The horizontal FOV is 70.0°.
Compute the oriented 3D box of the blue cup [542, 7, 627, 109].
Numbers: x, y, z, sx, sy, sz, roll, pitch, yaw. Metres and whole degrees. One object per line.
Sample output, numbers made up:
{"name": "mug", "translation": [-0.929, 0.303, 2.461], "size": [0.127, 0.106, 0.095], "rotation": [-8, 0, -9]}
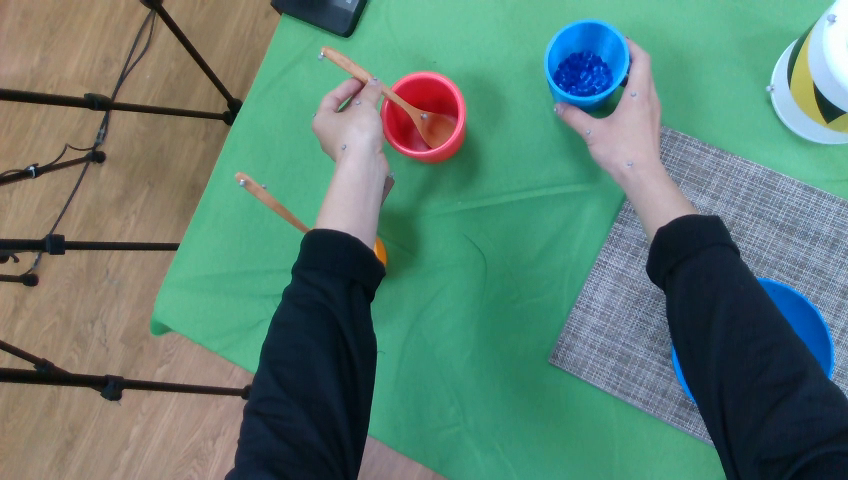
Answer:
{"name": "blue cup", "translation": [0.173, -0.187, 0.668], "size": [0.092, 0.100, 0.092], "rotation": [0, 87, 10]}

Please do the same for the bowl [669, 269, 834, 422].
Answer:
{"name": "bowl", "translation": [0.328, 0.106, 0.633], "size": [0.151, 0.077, 0.151], "rotation": [-1, 86, 11]}

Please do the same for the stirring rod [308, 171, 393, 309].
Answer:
{"name": "stirring rod", "translation": [-0.083, 0.000, 0.678], "size": [0.014, 0.006, 0.176], "rotation": [30, 93, 9]}

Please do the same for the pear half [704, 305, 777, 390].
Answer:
{"name": "pear half", "translation": [0.331, 0.110, 0.625], "size": [0.070, 0.031, 0.088], "rotation": [6, 83, 5]}

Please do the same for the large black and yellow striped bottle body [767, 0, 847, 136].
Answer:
{"name": "large black and yellow striped bottle body", "translation": [0.429, -0.183, 0.580], "size": [0.130, 0.184, 0.130], "rotation": [-1, 86, 10]}

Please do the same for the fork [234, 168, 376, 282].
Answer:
{"name": "fork", "translation": [-0.132, -0.015, 0.690], "size": [0.028, 0.018, 0.209], "rotation": [-40, 125, 14]}

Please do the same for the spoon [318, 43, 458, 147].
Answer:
{"name": "spoon", "translation": [-0.036, -0.165, 0.685], "size": [0.195, 0.021, 0.041], "rotation": [31, 87, -33]}
